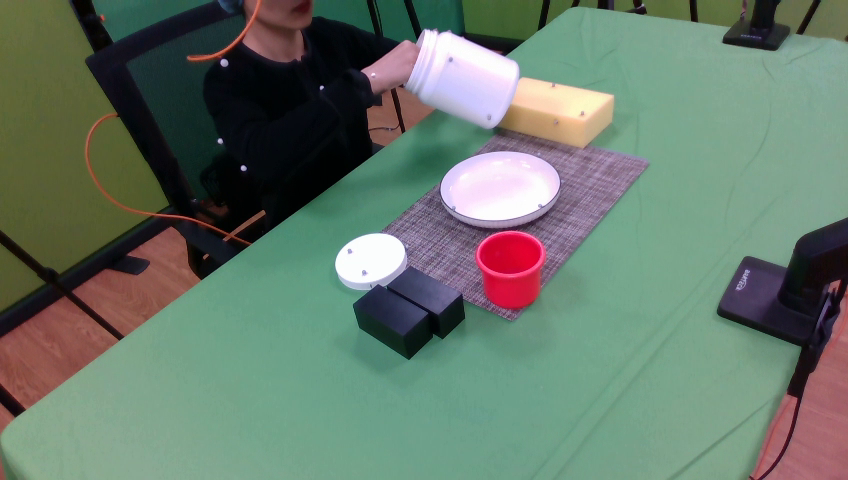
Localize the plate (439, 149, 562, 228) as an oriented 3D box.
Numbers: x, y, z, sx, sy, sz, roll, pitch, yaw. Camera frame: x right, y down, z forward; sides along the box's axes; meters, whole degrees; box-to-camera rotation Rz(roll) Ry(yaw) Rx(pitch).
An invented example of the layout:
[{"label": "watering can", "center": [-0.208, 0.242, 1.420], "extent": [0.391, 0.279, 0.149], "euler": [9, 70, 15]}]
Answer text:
[{"label": "plate", "center": [0.131, -0.085, 1.040], "extent": [0.209, 0.038, 0.208], "euler": [-5, 41, 5]}]

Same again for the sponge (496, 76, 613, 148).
[{"label": "sponge", "center": [0.254, -0.259, 1.207], "extent": [0.205, 0.061, 0.118], "euler": [22, 47, 31]}]

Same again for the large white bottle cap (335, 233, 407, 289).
[{"label": "large white bottle cap", "center": [-0.085, 0.032, 0.961], "extent": [0.115, 0.018, 0.114], "euler": [-6, 42, 6]}]

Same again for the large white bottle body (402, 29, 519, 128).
[{"label": "large white bottle body", "center": [0.064, -0.294, 1.096], "extent": [0.185, 0.130, 0.130], "euler": [19, 39, -14]}]

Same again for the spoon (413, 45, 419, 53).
[{"label": "spoon", "center": [0.048, -0.312, 1.159], "extent": [0.021, 0.195, 0.041], "euler": [-41, 41, 30]}]
